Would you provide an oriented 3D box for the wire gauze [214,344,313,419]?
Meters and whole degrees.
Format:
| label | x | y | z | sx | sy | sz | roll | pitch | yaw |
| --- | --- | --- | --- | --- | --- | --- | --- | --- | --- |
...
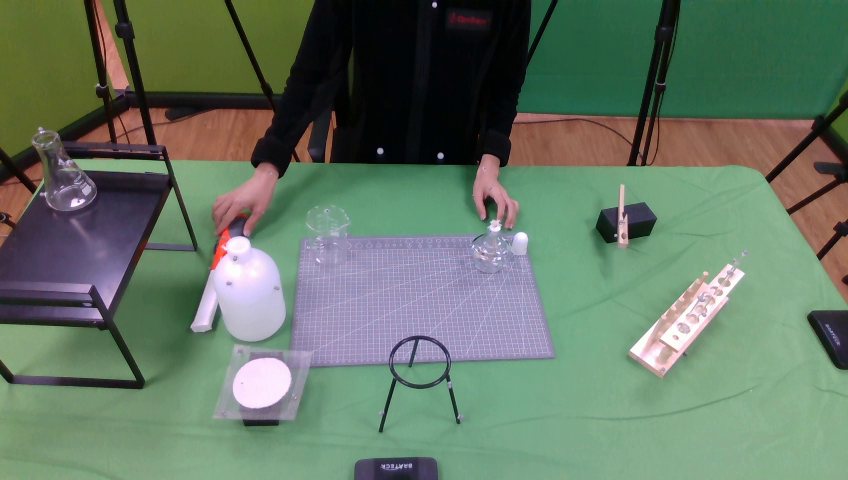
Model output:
| label | x | y | z | sx | sy | sz | roll | pitch | yaw |
| --- | --- | --- | --- | --- | --- | --- | --- | --- | --- |
| wire gauze | -0.241 | 0.213 | 0.915 | 0.121 | 0.011 | 0.124 | 5 | 46 | 1 |

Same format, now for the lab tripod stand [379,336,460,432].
| label | x | y | z | sx | sy | sz | roll | pitch | yaw |
| --- | --- | --- | --- | --- | --- | --- | --- | --- | --- |
| lab tripod stand | -0.010 | 0.214 | 0.911 | 0.148 | 0.132 | 0.147 | 1 | 45 | -1 |

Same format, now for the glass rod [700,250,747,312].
| label | x | y | z | sx | sy | sz | roll | pitch | yaw |
| --- | --- | --- | --- | --- | --- | --- | --- | --- | --- |
| glass rod | 0.500 | 0.075 | 1.021 | 0.008 | 0.201 | 0.008 | 0 | 55 | 1 |

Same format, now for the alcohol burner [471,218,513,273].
| label | x | y | z | sx | sy | sz | roll | pitch | yaw |
| --- | --- | --- | --- | --- | --- | --- | --- | --- | --- |
| alcohol burner | 0.128 | 0.005 | 1.132 | 0.078 | 0.120 | 0.077 | 0 | 47 | 0 |

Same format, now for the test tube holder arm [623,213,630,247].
| label | x | y | z | sx | sy | sz | roll | pitch | yaw |
| --- | --- | --- | --- | --- | --- | --- | --- | --- | --- |
| test tube holder arm | 0.393 | -0.020 | 1.179 | 0.010 | 0.015 | 0.087 | 13 | 46 | 1 |

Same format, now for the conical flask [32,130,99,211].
| label | x | y | z | sx | sy | sz | roll | pitch | yaw |
| --- | --- | --- | --- | --- | --- | --- | --- | --- | --- |
| conical flask | -0.565 | -0.110 | 0.944 | 0.075 | 0.122 | 0.075 | 2 | 46 | -2 |

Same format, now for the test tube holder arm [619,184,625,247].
| label | x | y | z | sx | sy | sz | roll | pitch | yaw |
| --- | --- | --- | --- | --- | --- | --- | --- | --- | --- |
| test tube holder arm | 0.396 | -0.053 | 1.210 | 0.013 | 0.015 | 0.177 | 14 | 46 | 2 |

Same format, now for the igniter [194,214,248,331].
| label | x | y | z | sx | sy | sz | roll | pitch | yaw |
| --- | --- | --- | --- | --- | --- | --- | --- | --- | --- |
| igniter | -0.370 | 0.050 | 1.118 | 0.057 | 0.025 | 0.275 | -7 | 45 | 8 |

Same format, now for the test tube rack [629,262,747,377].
| label | x | y | z | sx | sy | sz | roll | pitch | yaw |
| --- | --- | --- | --- | --- | --- | --- | --- | --- | --- |
| test tube rack | 0.464 | 0.126 | 1.061 | 0.242 | 0.085 | 0.066 | -34 | 56 | -30 |

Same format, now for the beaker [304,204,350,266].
| label | x | y | z | sx | sy | sz | roll | pitch | yaw |
| --- | --- | --- | --- | --- | --- | --- | --- | --- | --- |
| beaker | -0.178 | -0.006 | 1.132 | 0.084 | 0.101 | 0.073 | 4 | 46 | -1 |

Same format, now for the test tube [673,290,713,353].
| label | x | y | z | sx | sy | sz | roll | pitch | yaw |
| --- | --- | --- | --- | --- | --- | --- | --- | --- | --- |
| test tube | 0.429 | 0.135 | 0.981 | 0.017 | 0.151 | 0.017 | 4 | 44 | -4 |

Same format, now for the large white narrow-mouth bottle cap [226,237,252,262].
| label | x | y | z | sx | sy | sz | roll | pitch | yaw |
| --- | --- | --- | --- | --- | --- | --- | --- | --- | --- |
| large white narrow-mouth bottle cap | -0.282 | 0.014 | 0.923 | 0.038 | 0.024 | 0.037 | 2 | 46 | -2 |

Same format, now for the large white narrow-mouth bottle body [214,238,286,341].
| label | x | y | z | sx | sy | sz | roll | pitch | yaw |
| --- | --- | --- | --- | --- | --- | --- | --- | --- | --- |
| large white narrow-mouth bottle body | -0.285 | 0.073 | 0.986 | 0.102 | 0.195 | 0.101 | 2 | 46 | -2 |

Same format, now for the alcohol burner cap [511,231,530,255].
| label | x | y | z | sx | sy | sz | roll | pitch | yaw |
| --- | --- | --- | --- | --- | --- | --- | --- | --- | --- |
| alcohol burner cap | 0.191 | 0.003 | 1.188 | 0.034 | 0.048 | 0.033 | 2 | 46 | -2 |
